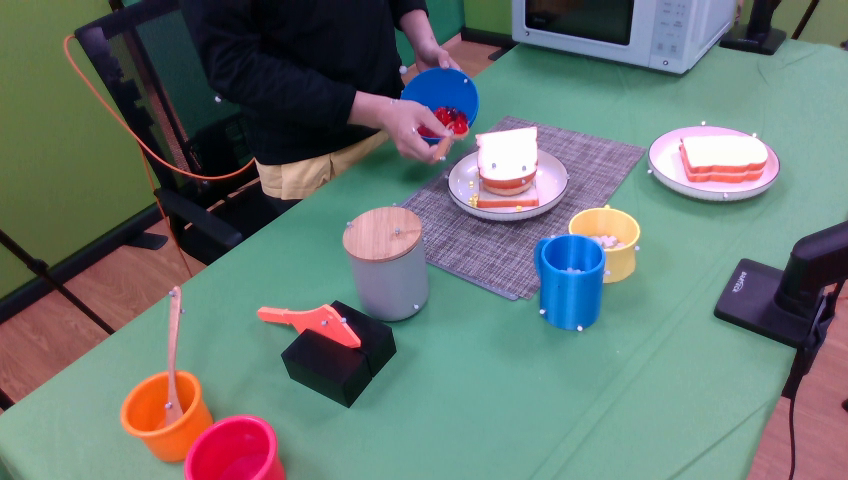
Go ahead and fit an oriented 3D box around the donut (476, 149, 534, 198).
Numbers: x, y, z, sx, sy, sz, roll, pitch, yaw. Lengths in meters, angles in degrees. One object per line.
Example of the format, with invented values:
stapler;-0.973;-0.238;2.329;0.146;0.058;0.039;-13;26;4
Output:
donut;0.138;-0.115;1.025;0.099;0.048;0.098;-8;60;16

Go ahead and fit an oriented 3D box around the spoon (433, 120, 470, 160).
spoon;0.038;-0.158;0.942;0.041;0.021;0.194;9;24;11

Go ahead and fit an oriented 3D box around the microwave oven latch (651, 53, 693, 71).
microwave oven latch;0.532;-0.386;1.301;0.078;0.029;0.030;27;52;34

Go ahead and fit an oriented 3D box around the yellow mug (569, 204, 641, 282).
yellow mug;0.268;-0.005;0.904;0.099;0.064;0.130;7;41;15

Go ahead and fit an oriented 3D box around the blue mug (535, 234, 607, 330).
blue mug;0.190;0.048;0.824;0.082;0.106;0.115;-26;44;-21

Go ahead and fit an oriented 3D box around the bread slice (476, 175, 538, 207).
bread slice;0.143;-0.104;1.058;0.105;0.019;0.131;0;44;5

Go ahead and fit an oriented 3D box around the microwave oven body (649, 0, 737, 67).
microwave oven body;0.475;-0.602;1.411;0.438;0.261;0.327;23;50;32

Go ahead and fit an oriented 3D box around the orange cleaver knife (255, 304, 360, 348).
orange cleaver knife;-0.161;0.115;0.813;0.210;0.077;0.012;-4;32;46

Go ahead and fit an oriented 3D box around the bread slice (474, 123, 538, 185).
bread slice;0.141;-0.143;1.009;0.107;0.018;0.133;-8;47;8

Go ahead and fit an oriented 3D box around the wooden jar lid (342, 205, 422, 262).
wooden jar lid;-0.055;-0.006;0.808;0.108;0.021;0.108;-6;41;6

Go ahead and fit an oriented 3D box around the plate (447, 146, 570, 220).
plate;0.145;-0.098;1.046;0.209;0.038;0.208;-4;41;4

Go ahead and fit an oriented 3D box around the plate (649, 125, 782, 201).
plate;0.493;-0.128;1.036;0.207;0.039;0.206;-4;41;4

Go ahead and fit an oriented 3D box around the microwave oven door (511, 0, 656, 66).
microwave oven door;0.351;-0.539;1.349;0.353;0.245;0.039;24;50;31

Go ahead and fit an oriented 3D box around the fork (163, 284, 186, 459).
fork;-0.302;0.157;0.733;0.028;0.019;0.207;-3;84;15

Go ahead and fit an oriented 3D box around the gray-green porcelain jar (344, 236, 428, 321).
gray-green porcelain jar;-0.049;0.042;0.849;0.106;0.127;0.105;-4;41;4

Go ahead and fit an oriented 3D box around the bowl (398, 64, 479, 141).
bowl;0.032;-0.243;1.137;0.151;0.077;0.151;-3;72;10
